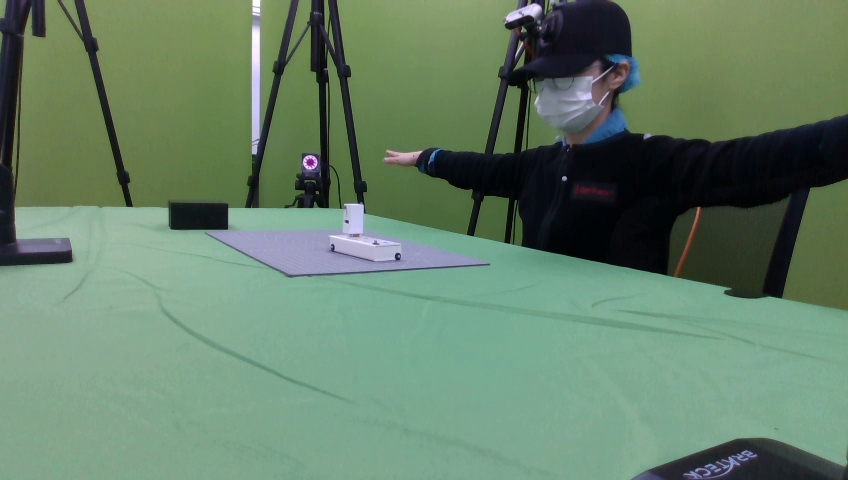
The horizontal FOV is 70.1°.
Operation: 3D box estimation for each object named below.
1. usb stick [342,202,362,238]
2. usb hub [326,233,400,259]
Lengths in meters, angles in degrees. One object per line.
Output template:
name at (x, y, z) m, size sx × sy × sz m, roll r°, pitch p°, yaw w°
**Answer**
usb stick at (-0.109, -0.027, 0.914) m, size 0.027 × 0.059 × 0.021 m, roll -8°, pitch 13°, yaw -42°
usb hub at (-0.092, 0.008, 0.892) m, size 0.050 × 0.025 × 0.124 m, roll -5°, pitch 9°, yaw -40°
